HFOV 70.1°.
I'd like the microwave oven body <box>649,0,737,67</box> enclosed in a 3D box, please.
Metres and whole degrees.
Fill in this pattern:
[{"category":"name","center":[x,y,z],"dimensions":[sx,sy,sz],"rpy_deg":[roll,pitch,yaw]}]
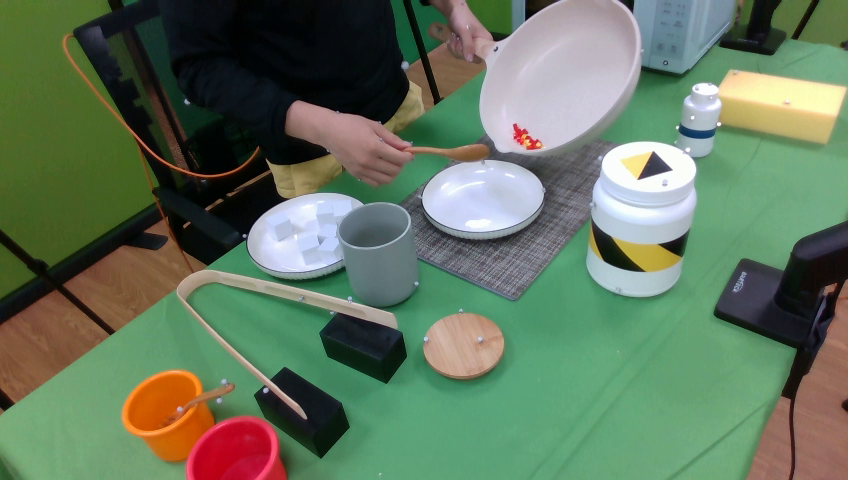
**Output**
[{"category":"microwave oven body","center":[0.475,-0.602,1.411],"dimensions":[0.438,0.261,0.327],"rpy_deg":[23,50,32]}]

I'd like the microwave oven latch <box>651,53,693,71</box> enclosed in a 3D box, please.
[{"category":"microwave oven latch","center":[0.533,-0.387,1.301],"dimensions":[0.078,0.029,0.030],"rpy_deg":[29,53,35]}]

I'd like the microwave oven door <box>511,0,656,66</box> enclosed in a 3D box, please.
[{"category":"microwave oven door","center":[0.350,-0.539,1.349],"dimensions":[0.353,0.245,0.039],"rpy_deg":[24,50,31]}]

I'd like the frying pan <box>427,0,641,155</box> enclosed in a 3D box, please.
[{"category":"frying pan","center":[0.165,-0.320,1.079],"dimensions":[0.483,0.103,0.306],"rpy_deg":[39,96,36]}]

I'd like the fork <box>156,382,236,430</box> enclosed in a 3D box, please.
[{"category":"fork","center":[-0.262,0.189,0.690],"dimensions":[0.018,0.206,0.028],"rpy_deg":[49,43,-6]}]

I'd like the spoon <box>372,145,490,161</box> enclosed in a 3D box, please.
[{"category":"spoon","center":[0.006,-0.132,0.889],"dimensions":[0.192,0.042,0.021],"rpy_deg":[9,80,30]}]

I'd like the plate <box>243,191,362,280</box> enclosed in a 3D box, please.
[{"category":"plate","center":[-0.188,-0.005,0.992],"dimensions":[0.207,0.039,0.206],"rpy_deg":[-4,40,4]}]

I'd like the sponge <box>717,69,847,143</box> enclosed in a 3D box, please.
[{"category":"sponge","center":[0.663,-0.256,1.142],"dimensions":[0.205,0.061,0.118],"rpy_deg":[19,47,28]}]

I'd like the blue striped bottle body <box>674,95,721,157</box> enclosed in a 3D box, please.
[{"category":"blue striped bottle body","center":[0.486,-0.213,1.072],"dimensions":[0.063,0.121,0.063],"rpy_deg":[-4,41,4]}]

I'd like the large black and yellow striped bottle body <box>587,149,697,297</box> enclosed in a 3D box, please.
[{"category":"large black and yellow striped bottle body","center":[0.298,-0.026,0.834],"dimensions":[0.131,0.185,0.130],"rpy_deg":[-4,41,4]}]

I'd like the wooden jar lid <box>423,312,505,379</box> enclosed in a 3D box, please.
[{"category":"wooden jar lid","center":[0.053,0.142,0.800],"dimensions":[0.108,0.021,0.108],"rpy_deg":[-5,39,4]}]

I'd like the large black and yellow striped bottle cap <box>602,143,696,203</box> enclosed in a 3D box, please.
[{"category":"large black and yellow striped bottle cap","center":[0.289,-0.088,0.778],"dimensions":[0.115,0.019,0.114],"rpy_deg":[-5,39,4]}]

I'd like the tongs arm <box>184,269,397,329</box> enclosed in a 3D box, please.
[{"category":"tongs arm","center":[-0.203,0.085,0.847],"dimensions":[0.382,0.027,0.051],"rpy_deg":[11,45,35]}]

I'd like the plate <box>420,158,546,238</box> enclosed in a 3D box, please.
[{"category":"plate","center":[0.099,-0.067,1.017],"dimensions":[0.209,0.038,0.208],"rpy_deg":[-4,40,3]}]

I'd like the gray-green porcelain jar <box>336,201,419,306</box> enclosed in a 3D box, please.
[{"category":"gray-green porcelain jar","center":[-0.064,0.024,0.872],"dimensions":[0.106,0.127,0.105],"rpy_deg":[-4,41,4]}]

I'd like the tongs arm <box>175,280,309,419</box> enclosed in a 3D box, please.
[{"category":"tongs arm","center":[-0.254,0.133,0.801],"dimensions":[0.028,0.028,0.384],"rpy_deg":[-41,40,-23]}]

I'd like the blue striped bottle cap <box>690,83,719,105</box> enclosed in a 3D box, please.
[{"category":"blue striped bottle cap","center":[0.481,-0.251,1.038],"dimensions":[0.044,0.021,0.044],"rpy_deg":[-5,40,4]}]
